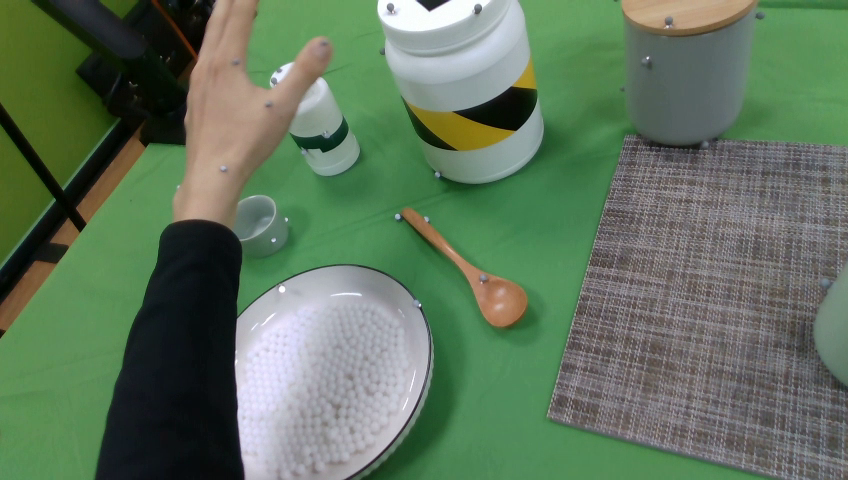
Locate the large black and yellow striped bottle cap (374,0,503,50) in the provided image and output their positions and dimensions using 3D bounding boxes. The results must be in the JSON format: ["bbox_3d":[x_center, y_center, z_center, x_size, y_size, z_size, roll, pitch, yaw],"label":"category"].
[{"bbox_3d":[0.012,-0.206,0.522,0.115,0.019,0.114,-9,51,12],"label":"large black and yellow striped bottle cap"}]

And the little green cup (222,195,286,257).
[{"bbox_3d":[-0.180,-0.013,0.649,0.061,0.039,0.061,-9,52,12],"label":"little green cup"}]

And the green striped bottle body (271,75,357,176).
[{"bbox_3d":[-0.123,-0.132,0.665,0.063,0.120,0.062,-10,51,13],"label":"green striped bottle body"}]

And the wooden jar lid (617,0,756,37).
[{"bbox_3d":[0.218,-0.198,0.504,0.108,0.021,0.107,-12,49,14],"label":"wooden jar lid"}]

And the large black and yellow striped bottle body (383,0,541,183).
[{"bbox_3d":[0.037,-0.159,0.586,0.130,0.186,0.129,-10,52,13],"label":"large black and yellow striped bottle body"}]

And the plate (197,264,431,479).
[{"bbox_3d":[-0.091,0.115,0.520,0.209,0.038,0.207,-9,52,12],"label":"plate"}]

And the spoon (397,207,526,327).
[{"bbox_3d":[0.027,0.016,0.563,0.041,0.022,0.191,-49,52,3],"label":"spoon"}]

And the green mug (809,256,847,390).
[{"bbox_3d":[0.317,0.051,0.373,0.124,0.106,0.092,18,61,30],"label":"green mug"}]

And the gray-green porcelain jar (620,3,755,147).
[{"bbox_3d":[0.233,-0.158,0.550,0.106,0.128,0.105,-9,48,11],"label":"gray-green porcelain jar"}]

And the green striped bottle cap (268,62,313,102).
[{"bbox_3d":[-0.138,-0.163,0.625,0.044,0.020,0.044,-8,54,12],"label":"green striped bottle cap"}]
